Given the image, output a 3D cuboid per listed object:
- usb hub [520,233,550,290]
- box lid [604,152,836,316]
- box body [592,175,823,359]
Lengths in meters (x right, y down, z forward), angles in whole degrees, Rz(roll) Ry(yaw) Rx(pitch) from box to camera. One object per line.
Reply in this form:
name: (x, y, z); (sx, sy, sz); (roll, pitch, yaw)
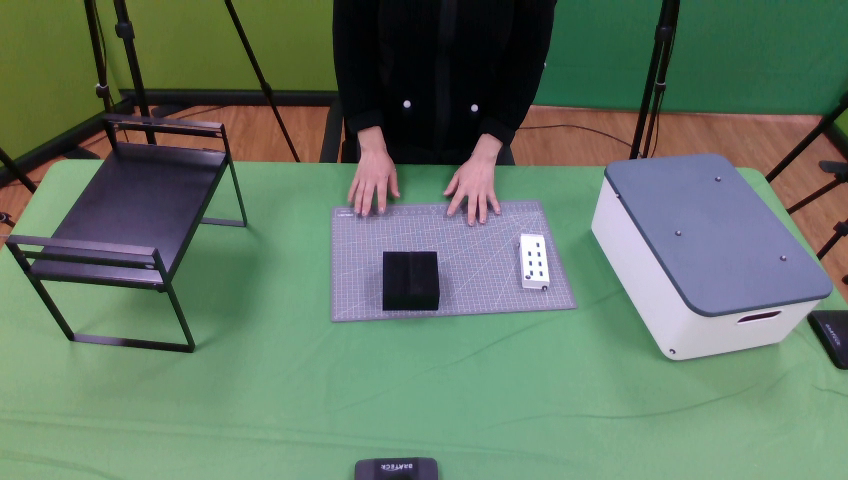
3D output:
usb hub: (0.212, 0.039, 1.168); (0.049, 0.025, 0.124); (4, 45, 1)
box lid: (0.499, -0.029, 1.059); (0.264, 0.015, 0.369); (-7, 47, -11)
box body: (0.496, 0.023, 1.112); (0.254, 0.161, 0.361); (-8, 47, -10)
